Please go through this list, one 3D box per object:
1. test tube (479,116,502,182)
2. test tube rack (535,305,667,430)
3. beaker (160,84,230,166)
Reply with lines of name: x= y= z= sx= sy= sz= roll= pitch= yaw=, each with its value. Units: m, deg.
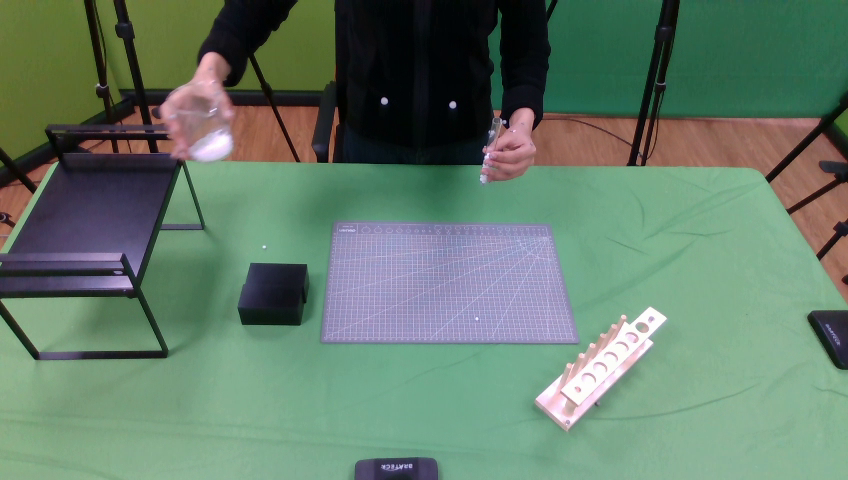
test tube: x=0.108 y=-0.146 z=1.001 sx=0.017 sy=0.151 sz=0.017 roll=3 pitch=55 yaw=-4
test tube rack: x=0.290 y=0.193 z=0.984 sx=0.242 sy=0.085 sz=0.066 roll=-32 pitch=56 yaw=-30
beaker: x=-0.332 y=-0.166 z=0.897 sx=0.074 sy=0.101 sz=0.083 roll=-36 pitch=58 yaw=-26
